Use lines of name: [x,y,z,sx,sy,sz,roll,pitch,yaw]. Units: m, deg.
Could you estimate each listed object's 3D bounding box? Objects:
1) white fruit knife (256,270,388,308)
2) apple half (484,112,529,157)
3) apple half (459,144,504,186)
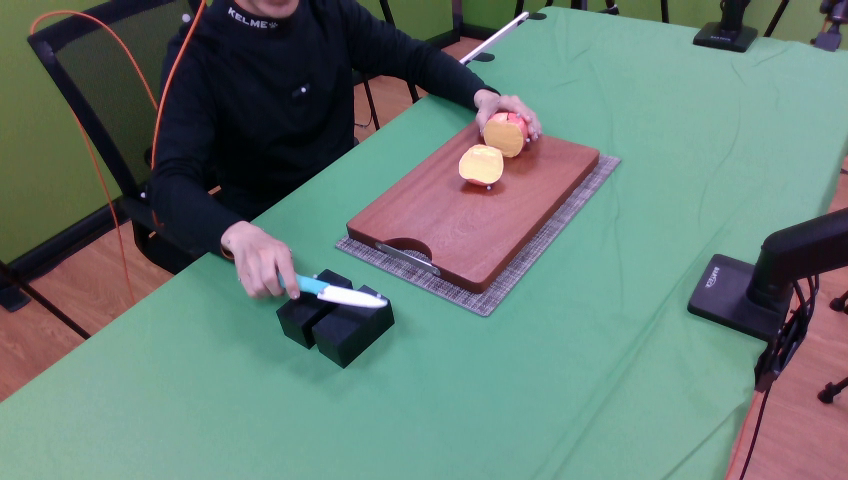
white fruit knife: [-0.141,0.068,0.826,0.206,0.016,0.027,10,60,22]
apple half: [0.154,-0.194,1.090,0.080,0.075,0.053,13,41,27]
apple half: [0.102,-0.124,1.041,0.081,0.033,0.081,-4,64,8]
